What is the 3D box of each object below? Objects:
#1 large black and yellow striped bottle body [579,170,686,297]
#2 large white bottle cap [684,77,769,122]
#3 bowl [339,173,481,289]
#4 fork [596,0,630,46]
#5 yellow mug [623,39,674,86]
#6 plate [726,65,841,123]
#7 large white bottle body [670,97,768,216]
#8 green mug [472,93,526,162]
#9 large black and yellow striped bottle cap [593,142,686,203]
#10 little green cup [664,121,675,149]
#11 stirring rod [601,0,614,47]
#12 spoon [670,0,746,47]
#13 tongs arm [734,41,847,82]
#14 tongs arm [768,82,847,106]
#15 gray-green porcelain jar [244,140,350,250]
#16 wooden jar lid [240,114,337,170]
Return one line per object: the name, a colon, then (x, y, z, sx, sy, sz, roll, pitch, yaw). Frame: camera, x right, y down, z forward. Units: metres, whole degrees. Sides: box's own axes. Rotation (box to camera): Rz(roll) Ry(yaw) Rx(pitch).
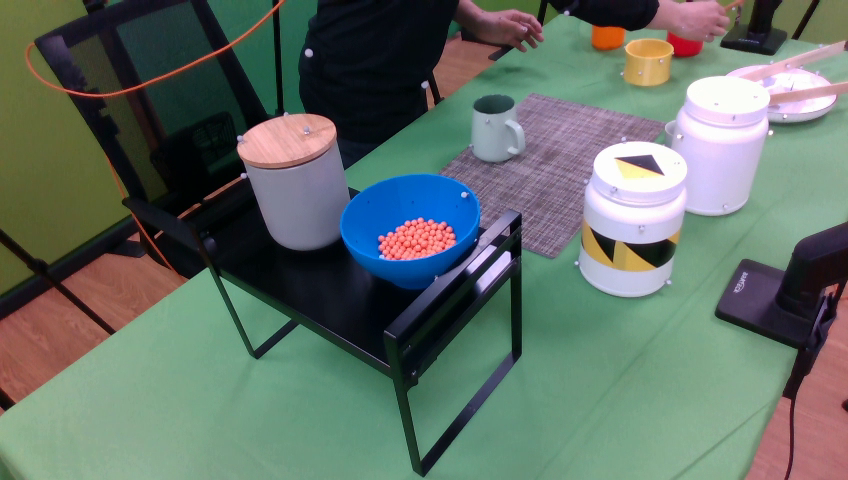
large black and yellow striped bottle body: (0.287, -0.027, 0.841, 0.131, 0.185, 0.130, -4, 40, 4)
large white bottle cap: (0.448, -0.209, 0.897, 0.115, 0.018, 0.114, -4, 40, 4)
bowl: (-0.011, 0.001, 0.660, 0.151, 0.077, 0.150, -5, 41, 5)
fork: (0.481, -0.556, 1.452, 0.028, 0.019, 0.207, 40, 103, 39)
yellow mug: (0.484, -0.398, 1.334, 0.100, 0.064, 0.130, -18, 40, -11)
plate: (0.694, -0.282, 1.189, 0.207, 0.039, 0.206, -4, 40, 4)
large white bottle body: (0.458, -0.146, 0.952, 0.130, 0.185, 0.130, -4, 40, 4)
green mug: (0.144, -0.202, 1.122, 0.093, 0.105, 0.124, -29, 45, -23)
large black and yellow striped bottle cap: (0.280, -0.090, 0.786, 0.115, 0.019, 0.114, -5, 41, 5)
little green cup: (0.472, -0.188, 1.113, 0.061, 0.039, 0.061, -5, 40, 4)
stirring rod: (0.439, -0.552, 1.463, 0.014, 0.006, 0.175, -7, 83, 2)
spoon: (0.629, -0.485, 1.350, 0.022, 0.193, 0.042, 47, 54, -8)
tongs arm: (0.712, -0.332, 1.194, 0.386, 0.026, 0.050, -18, 45, -16)
tongs arm: (0.738, -0.282, 1.134, 0.388, 0.028, 0.028, -9, 47, -5)
gray-green porcelain jar: (-0.144, -0.060, 0.714, 0.106, 0.127, 0.105, -4, 41, 4)
wooden jar lid: (-0.149, -0.106, 0.674, 0.108, 0.021, 0.108, -6, 39, 5)
